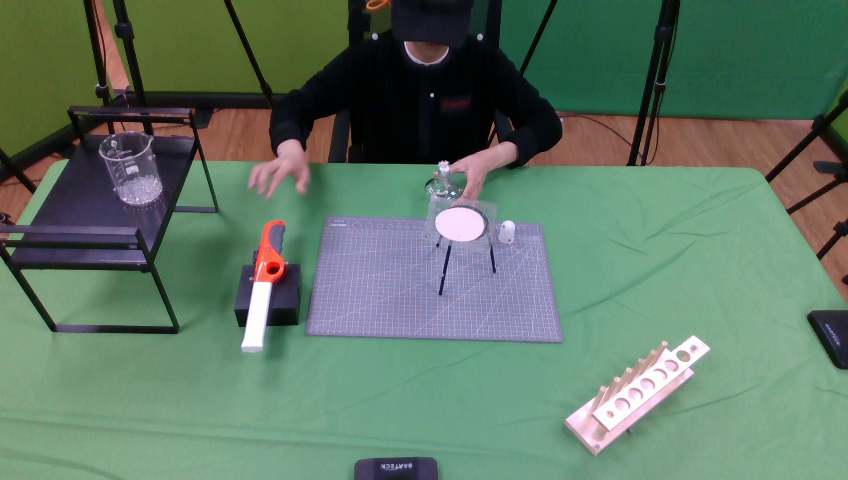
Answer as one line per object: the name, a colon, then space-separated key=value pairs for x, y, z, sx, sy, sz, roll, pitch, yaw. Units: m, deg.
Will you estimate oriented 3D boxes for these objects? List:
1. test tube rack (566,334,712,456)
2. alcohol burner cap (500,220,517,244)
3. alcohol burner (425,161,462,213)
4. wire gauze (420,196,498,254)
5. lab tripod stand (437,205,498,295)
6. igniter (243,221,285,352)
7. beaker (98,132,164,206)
test tube rack: x=0.339 y=0.228 z=0.950 sx=0.242 sy=0.085 sz=0.066 roll=-27 pitch=52 yaw=-26
alcohol burner cap: x=0.170 y=-0.018 z=1.205 sx=0.034 sy=0.048 sz=0.033 roll=1 pitch=46 yaw=0
alcohol burner: x=0.041 y=-0.115 z=1.245 sx=0.078 sy=0.119 sz=0.077 roll=3 pitch=44 yaw=-3
wire gauze: x=0.062 y=-0.032 z=1.054 sx=0.125 sy=0.011 sz=0.121 roll=9 pitch=46 yaw=8
lab tripod stand: x=0.066 y=0.010 z=1.107 sx=0.148 sy=0.132 sz=0.147 roll=0 pitch=46 yaw=0
igniter: x=-0.273 y=0.069 z=1.041 sx=0.057 sy=0.025 sz=0.274 roll=2 pitch=48 yaw=-5
beaker: x=-0.460 y=-0.112 z=0.968 sx=0.073 sy=0.101 sz=0.084 roll=37 pitch=54 yaw=28
